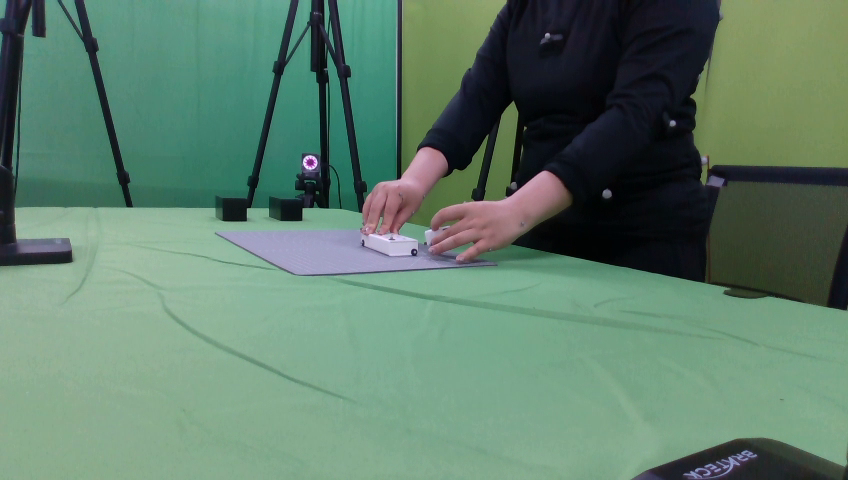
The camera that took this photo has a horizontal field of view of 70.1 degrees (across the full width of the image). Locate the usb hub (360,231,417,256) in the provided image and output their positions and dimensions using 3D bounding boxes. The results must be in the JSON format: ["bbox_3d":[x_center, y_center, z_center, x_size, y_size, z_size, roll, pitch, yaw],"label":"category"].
[{"bbox_3d":[-0.059,0.005,0.950,0.050,0.025,0.124,-2,8,-26],"label":"usb hub"}]

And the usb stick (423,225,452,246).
[{"bbox_3d":[0.017,-0.005,0.936,0.021,0.027,0.059,-10,-6,-35],"label":"usb stick"}]
